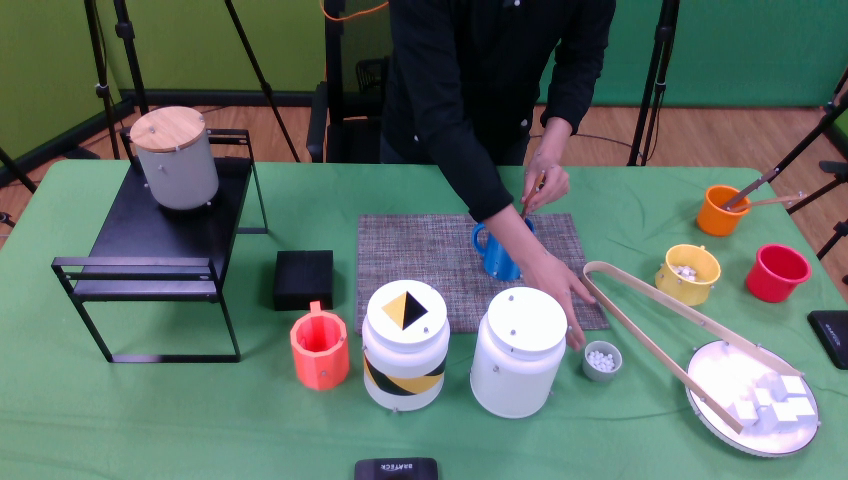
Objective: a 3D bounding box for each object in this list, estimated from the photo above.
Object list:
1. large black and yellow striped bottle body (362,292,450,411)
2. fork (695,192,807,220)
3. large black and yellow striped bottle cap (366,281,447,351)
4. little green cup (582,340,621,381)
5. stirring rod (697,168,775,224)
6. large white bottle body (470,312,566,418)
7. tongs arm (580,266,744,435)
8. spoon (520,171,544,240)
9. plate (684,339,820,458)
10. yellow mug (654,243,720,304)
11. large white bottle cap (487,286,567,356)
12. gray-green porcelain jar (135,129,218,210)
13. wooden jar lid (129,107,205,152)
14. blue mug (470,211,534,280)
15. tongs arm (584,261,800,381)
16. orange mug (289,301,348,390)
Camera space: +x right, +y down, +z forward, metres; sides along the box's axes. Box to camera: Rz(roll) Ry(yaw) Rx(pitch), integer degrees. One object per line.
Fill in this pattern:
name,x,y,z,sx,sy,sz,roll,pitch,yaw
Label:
large black and yellow striped bottle body,-0.029,0.163,0.928,0.131,0.185,0.130,2,47,-2
fork,0.655,-0.069,1.224,0.207,0.019,0.028,-17,34,45
large black and yellow striped bottle cap,-0.025,0.106,0.866,0.115,0.019,0.114,2,46,-1
little green cup,0.295,0.203,1.014,0.061,0.039,0.061,3,46,-2
stirring rod,0.644,-0.090,1.252,0.176,0.006,0.014,-39,53,16
large white bottle body,0.143,0.174,0.930,0.131,0.185,0.130,2,46,-2
tongs arm,0.384,0.173,1.028,0.028,0.028,0.385,-25,46,-15
spoon,0.188,-0.044,1.095,0.021,0.194,0.041,32,46,31
plate,0.523,0.256,0.982,0.208,0.039,0.206,2,46,-2
yellow mug,0.504,0.054,1.154,0.099,0.064,0.130,28,50,22
large white bottle cap,0.147,0.114,0.869,0.115,0.018,0.114,3,46,-3
gray-green porcelain jar,-0.388,-0.120,0.960,0.106,0.127,0.105,2,46,-2
wooden jar lid,-0.385,-0.163,0.915,0.108,0.021,0.107,2,47,-2
blue mug,0.141,0.005,1.140,0.116,0.106,0.082,19,48,14
tongs arm,0.452,0.137,1.064,0.051,0.027,0.382,-34,50,-27
orange mug,-0.170,0.162,0.976,0.083,0.101,0.125,-7,52,-11
